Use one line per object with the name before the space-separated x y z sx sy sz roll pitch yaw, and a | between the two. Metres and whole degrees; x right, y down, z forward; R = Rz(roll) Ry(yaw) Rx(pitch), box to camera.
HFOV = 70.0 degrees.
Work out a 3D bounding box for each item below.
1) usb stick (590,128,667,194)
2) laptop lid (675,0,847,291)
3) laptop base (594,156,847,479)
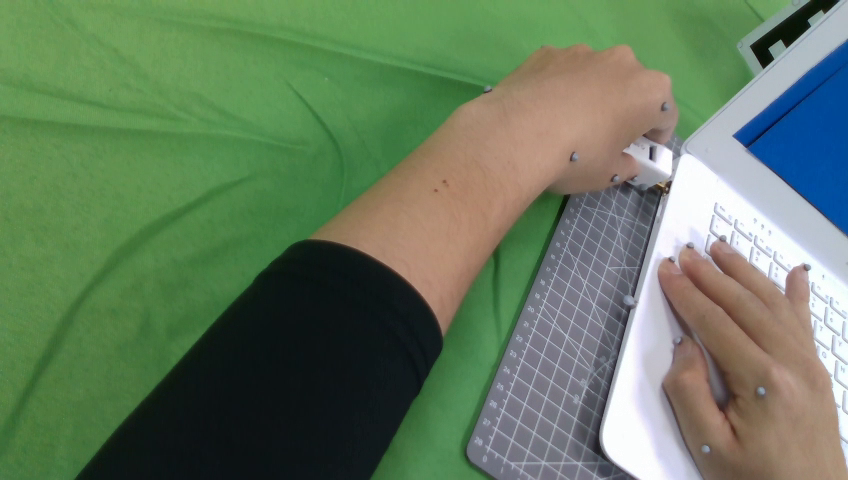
usb stick | 0.139 -0.049 0.397 0.059 0.027 0.021 23 59 -22
laptop lid | 0.381 -0.034 0.404 0.358 0.242 0.013 34 34 -10
laptop base | 0.269 0.124 0.403 0.356 0.023 0.234 36 58 -10
